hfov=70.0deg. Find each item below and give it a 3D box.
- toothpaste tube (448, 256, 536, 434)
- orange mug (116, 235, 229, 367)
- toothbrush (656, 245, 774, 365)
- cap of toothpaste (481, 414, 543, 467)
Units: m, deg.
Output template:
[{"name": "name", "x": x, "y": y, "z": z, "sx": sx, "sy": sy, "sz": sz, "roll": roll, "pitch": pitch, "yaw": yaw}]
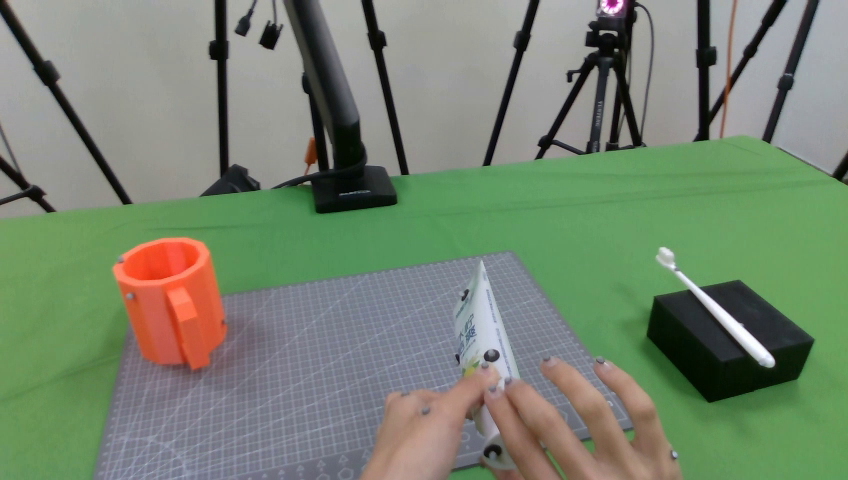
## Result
[{"name": "toothpaste tube", "x": 0.041, "y": 0.073, "z": 0.412, "sx": 0.035, "sy": 0.055, "sz": 0.163, "roll": 22, "pitch": 24, "yaw": -20}, {"name": "orange mug", "x": -0.238, "y": 0.063, "z": 0.591, "sx": 0.084, "sy": 0.101, "sz": 0.125, "roll": -19, "pitch": 32, "yaw": -28}, {"name": "toothbrush", "x": 0.275, "y": 0.056, "z": 0.585, "sx": 0.014, "sy": 0.017, "sz": 0.180, "roll": -1, "pitch": 31, "yaw": -12}, {"name": "cap of toothpaste", "x": 0.049, "y": 0.114, "z": 0.345, "sx": 0.037, "sy": 0.037, "sz": 0.011, "roll": -6, "pitch": 30, "yaw": -8}]
